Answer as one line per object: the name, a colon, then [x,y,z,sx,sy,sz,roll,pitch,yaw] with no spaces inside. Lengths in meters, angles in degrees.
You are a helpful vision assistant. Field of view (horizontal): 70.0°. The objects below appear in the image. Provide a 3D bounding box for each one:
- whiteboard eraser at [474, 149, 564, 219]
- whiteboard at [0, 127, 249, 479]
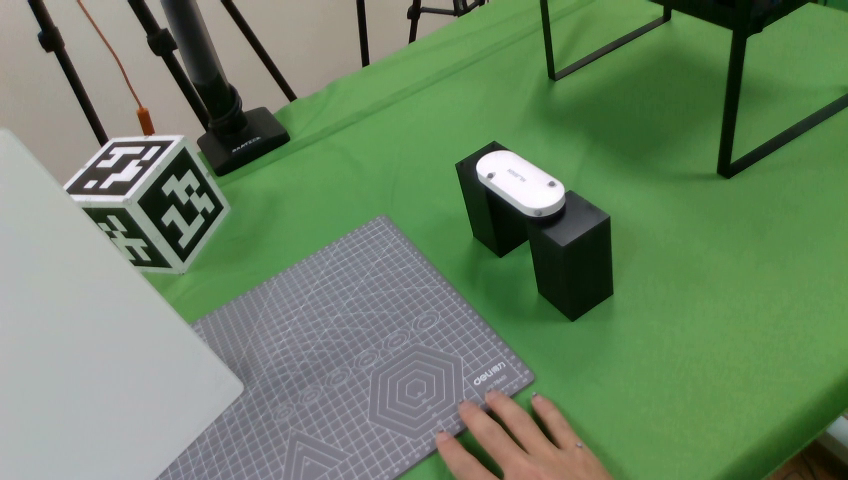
whiteboard eraser: [0.083,-0.053,0.542,0.041,0.019,0.100,-31,45,-16]
whiteboard: [-0.349,0.094,0.523,0.143,0.308,0.217,6,46,51]
